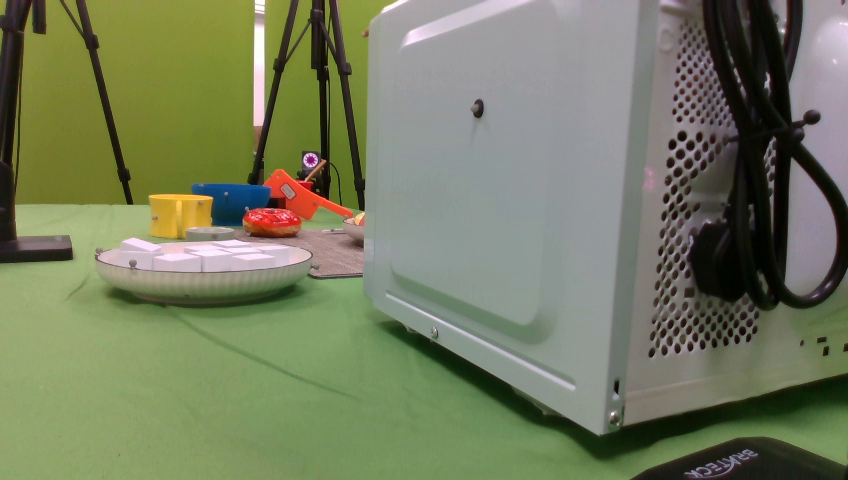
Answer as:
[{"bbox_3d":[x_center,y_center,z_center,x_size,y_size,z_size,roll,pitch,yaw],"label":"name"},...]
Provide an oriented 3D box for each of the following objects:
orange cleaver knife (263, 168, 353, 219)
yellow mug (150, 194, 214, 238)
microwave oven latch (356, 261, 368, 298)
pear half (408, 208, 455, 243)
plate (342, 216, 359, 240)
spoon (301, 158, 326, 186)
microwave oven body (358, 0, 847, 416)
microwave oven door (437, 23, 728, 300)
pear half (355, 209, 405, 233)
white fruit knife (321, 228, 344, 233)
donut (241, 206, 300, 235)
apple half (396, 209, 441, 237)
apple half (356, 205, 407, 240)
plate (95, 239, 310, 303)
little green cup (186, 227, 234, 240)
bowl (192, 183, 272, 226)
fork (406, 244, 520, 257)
[{"bbox_3d":[-0.262,-0.088,1.352,0.211,0.077,0.012,27,12,0],"label":"orange cleaver knife"},{"bbox_3d":[-0.401,-0.039,1.003,0.100,0.064,0.130,0,9,-20],"label":"yellow mug"},{"bbox_3d":[-0.019,0.033,0.530,0.079,0.029,0.030,0,7,-26],"label":"microwave oven latch"},{"bbox_3d":[0.018,-0.026,1.000,0.076,0.056,0.110,10,8,19],"label":"pear half"},{"bbox_3d":[-0.033,-0.014,1.005,0.209,0.038,0.209,2,8,0],"label":"plate"},{"bbox_3d":[-0.321,-0.161,1.646,0.041,0.022,0.194,8,53,34],"label":"spoon"},{"bbox_3d":[0.211,-0.047,0.475,0.444,0.260,0.324,-1,8,-28],"label":"microwave oven body"},{"bbox_3d":[0.180,-0.072,0.621,0.358,0.243,0.039,-2,8,-29],"label":"microwave oven door"},{"bbox_3d":[-0.075,-0.035,1.045,0.088,0.031,0.070,5,26,-7],"label":"pear half"},{"bbox_3d":[-0.097,-0.022,1.142,0.208,0.016,0.027,-4,-21,-32],"label":"white fruit knife"},{"bbox_3d":[-0.263,-0.032,1.039,0.099,0.048,0.099,4,9,0],"label":"donut"},{"bbox_3d":[-0.008,-0.036,1.053,0.081,0.033,0.081,13,26,-6],"label":"apple half"},{"bbox_3d":[-0.065,-0.028,0.970,0.081,0.053,0.074,3,8,-27],"label":"apple half"},{"bbox_3d":[-0.224,0.031,0.629,0.208,0.039,0.207,2,8,0],"label":"plate"},{"bbox_3d":[-0.284,0.005,0.805,0.061,0.038,0.061,2,8,0],"label":"little green cup"},{"bbox_3d":[-0.381,-0.071,1.202,0.151,0.077,0.151,3,7,0],"label":"bowl"},{"bbox_3d":[0.064,0.015,0.893,0.208,0.018,0.028,-3,0,-35],"label":"fork"}]
